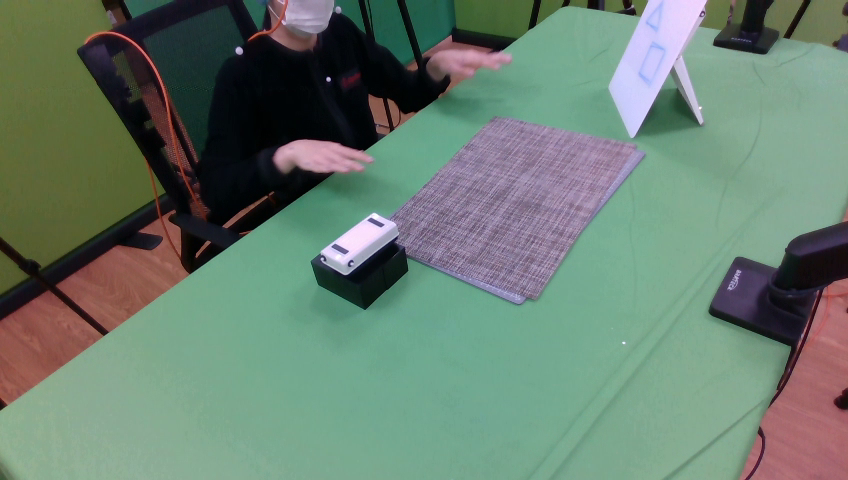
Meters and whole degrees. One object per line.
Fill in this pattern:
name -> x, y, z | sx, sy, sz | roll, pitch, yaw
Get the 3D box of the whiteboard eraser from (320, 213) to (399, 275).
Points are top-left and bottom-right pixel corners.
whiteboard eraser -> -0.092, 0.007, 0.884 | 0.055, 0.042, 0.113 | 28, 51, 32

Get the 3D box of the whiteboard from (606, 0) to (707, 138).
whiteboard -> 0.496, -0.359, 1.147 | 0.144, 0.305, 0.216 | 11, 40, -7
